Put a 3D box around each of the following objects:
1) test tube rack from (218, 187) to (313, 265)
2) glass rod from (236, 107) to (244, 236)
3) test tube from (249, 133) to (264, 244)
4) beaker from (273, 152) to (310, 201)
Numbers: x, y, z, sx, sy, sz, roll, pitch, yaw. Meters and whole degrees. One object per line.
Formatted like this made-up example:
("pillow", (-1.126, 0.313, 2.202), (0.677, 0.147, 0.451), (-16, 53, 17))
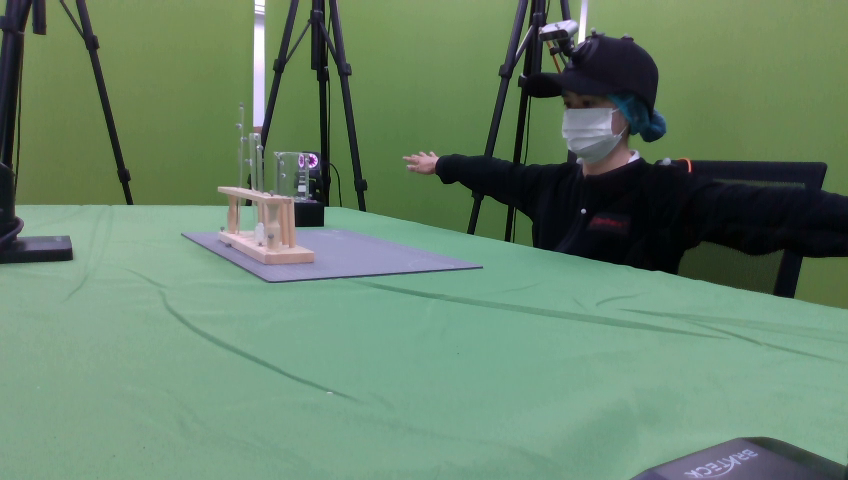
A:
("test tube rack", (-0.235, -0.027, 0.872), (0.067, 0.085, 0.241), (-2, 8, -32))
("glass rod", (-0.282, -0.102, 0.924), (0.008, 0.199, 0.008), (2, 2, 0))
("test tube", (-0.228, -0.070, 0.824), (0.017, 0.150, 0.017), (-1, 4, 0))
("beaker", (-0.277, -0.131, 1.249), (0.073, 0.100, 0.084), (6, 9, 26))
